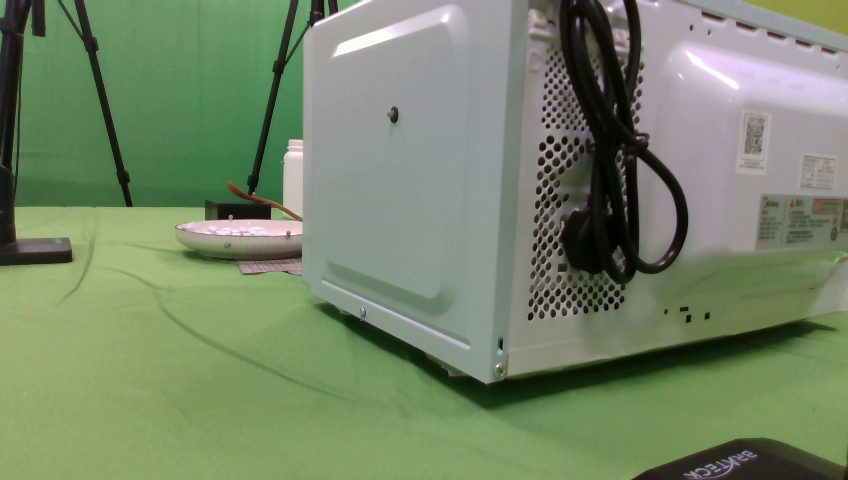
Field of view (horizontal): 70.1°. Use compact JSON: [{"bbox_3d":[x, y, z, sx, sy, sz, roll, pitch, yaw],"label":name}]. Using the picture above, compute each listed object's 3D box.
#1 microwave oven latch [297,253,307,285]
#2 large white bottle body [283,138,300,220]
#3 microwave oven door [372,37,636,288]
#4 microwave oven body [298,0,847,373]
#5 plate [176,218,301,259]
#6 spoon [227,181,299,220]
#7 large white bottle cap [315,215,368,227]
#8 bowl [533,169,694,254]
[{"bbox_3d":[-0.082,0.027,0.582,0.079,0.029,0.030,-1,7,-33],"label":"microwave oven latch"},{"bbox_3d":[-0.265,-0.143,1.423,0.131,0.184,0.130,2,7,0],"label":"large white bottle body"},{"bbox_3d":[0.110,-0.080,0.686,0.358,0.243,0.039,-2,9,-33],"label":"microwave oven door"},{"bbox_3d":[0.151,-0.055,0.542,0.444,0.260,0.324,-1,7,-33],"label":"microwave oven body"},{"bbox_3d":[-0.248,-0.003,0.877,0.209,0.038,0.209,1,8,0],"label":"plate"},{"bbox_3d":[-0.315,-0.074,1.234,0.195,0.021,0.041,24,-9,-37],"label":"spoon"},{"bbox_3d":[-0.178,-0.041,1.308,0.115,0.018,0.115,2,6,0],"label":"large white bottle cap"},{"bbox_3d":[0.181,-0.030,0.595,0.151,0.077,0.151,1,7,0],"label":"bowl"}]
